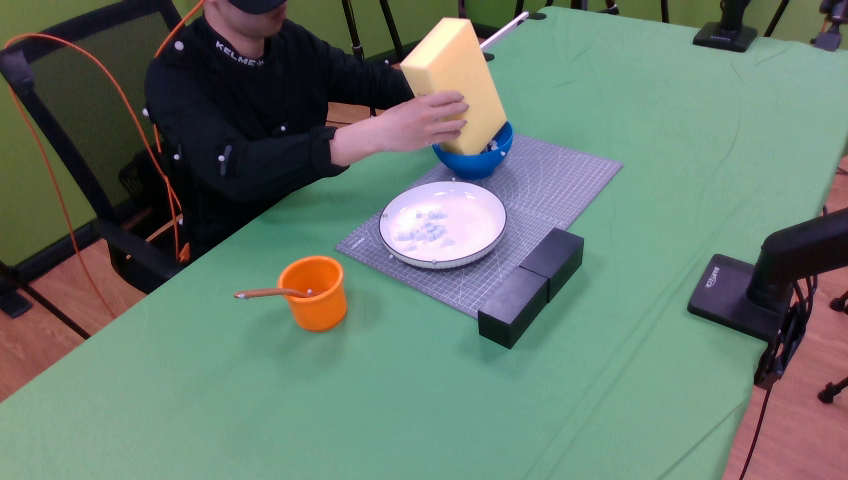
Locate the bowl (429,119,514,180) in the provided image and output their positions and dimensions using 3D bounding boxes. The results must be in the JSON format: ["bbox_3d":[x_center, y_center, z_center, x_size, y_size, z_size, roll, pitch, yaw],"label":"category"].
[{"bbox_3d":[0.089,-0.161,1.097,0.151,0.077,0.150,-5,41,4],"label":"bowl"}]

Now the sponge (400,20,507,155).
[{"bbox_3d":[0.055,-0.243,1.012,0.060,0.208,0.118,23,64,40],"label":"sponge"}]

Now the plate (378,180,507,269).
[{"bbox_3d":[0.031,-0.022,0.974,0.209,0.038,0.208,-4,40,4],"label":"plate"}]

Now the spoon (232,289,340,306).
[{"bbox_3d":[-0.181,0.074,0.811,0.041,0.195,0.021,16,90,31],"label":"spoon"}]
